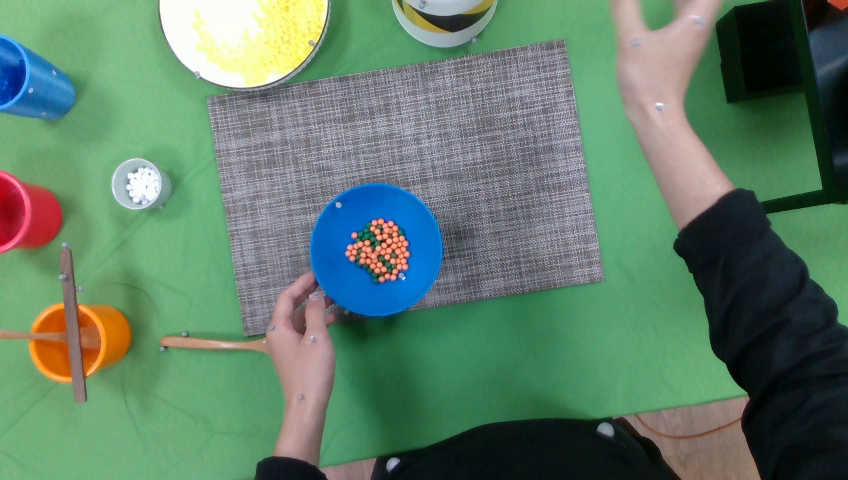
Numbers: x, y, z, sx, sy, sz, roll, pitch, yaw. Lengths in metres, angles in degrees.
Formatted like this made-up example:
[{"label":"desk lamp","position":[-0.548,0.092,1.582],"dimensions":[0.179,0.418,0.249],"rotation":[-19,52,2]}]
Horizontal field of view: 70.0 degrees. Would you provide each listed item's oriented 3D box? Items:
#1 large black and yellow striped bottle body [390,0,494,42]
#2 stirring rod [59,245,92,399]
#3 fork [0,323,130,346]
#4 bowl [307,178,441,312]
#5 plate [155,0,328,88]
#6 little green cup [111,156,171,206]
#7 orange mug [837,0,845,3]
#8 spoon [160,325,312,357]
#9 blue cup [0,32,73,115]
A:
[{"label":"large black and yellow striped bottle body","position":[0.019,-0.309,0.663],"dimensions":[0.131,0.184,0.130],"rotation":[0,89,2]},{"label":"stirring rod","position":[-0.395,0.092,0.685],"dimensions":[0.014,0.006,0.176],"rotation":[-8,90,3]},{"label":"fork","position":[-0.448,0.104,0.689],"dimensions":[0.209,0.018,0.028],"rotation":[11,92,-42]},{"label":"bowl","position":[-0.054,0.007,0.712],"dimensions":[0.151,0.077,0.151],"rotation":[0,90,2]},{"label":"plate","position":[-0.219,-0.287,0.741],"dimensions":[0.209,0.038,0.209],"rotation":[0,90,1]},{"label":"little green cup","position":[-0.343,-0.070,0.742],"dimensions":[0.061,0.038,0.061],"rotation":[0,90,2]},{"label":"orange mug","position":[0.400,-0.271,0.516],"dimensions":[0.083,0.101,0.126],"rotation":[30,86,2]},{"label":"spoon","position":[-0.232,0.122,0.746],"dimensions":[0.194,0.021,0.042],"rotation":[1,104,1]},{"label":"blue cup","position":[-0.473,-0.188,0.715],"dimensions":[0.092,0.100,0.092],"rotation":[0,90,3]}]
